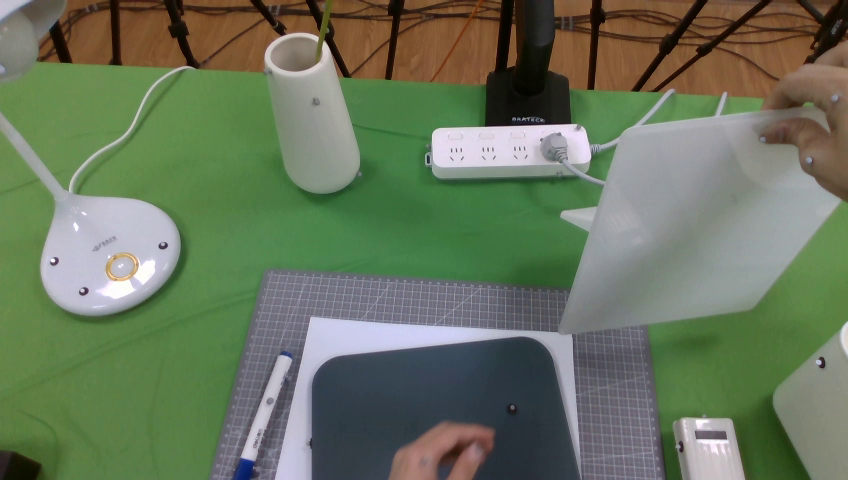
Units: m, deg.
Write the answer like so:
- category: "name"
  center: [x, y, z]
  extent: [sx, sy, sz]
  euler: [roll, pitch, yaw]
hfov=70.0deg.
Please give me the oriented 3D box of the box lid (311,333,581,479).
- category: "box lid"
  center: [0.026, 0.266, 0.577]
  extent: [0.263, 0.015, 0.368]
  euler: [-5, 59, -4]

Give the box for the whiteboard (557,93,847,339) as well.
- category: "whiteboard"
  center: [0.235, -0.053, 0.566]
  extent: [0.217, 0.308, 0.142]
  euler: [-7, 54, -2]

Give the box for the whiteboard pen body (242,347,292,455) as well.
- category: "whiteboard pen body"
  center: [-0.165, 0.177, 0.623]
  extent: [0.017, 0.017, 0.140]
  euler: [11, 60, 7]

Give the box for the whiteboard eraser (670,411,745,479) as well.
- category: "whiteboard eraser"
  center: [0.277, 0.224, 0.587]
  extent: [0.055, 0.042, 0.111]
  euler: [2, 58, -1]

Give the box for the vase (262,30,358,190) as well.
- category: "vase"
  center: [-0.137, -0.149, 0.728]
  extent: [0.098, 0.202, 0.097]
  euler: [-1, 57, 2]

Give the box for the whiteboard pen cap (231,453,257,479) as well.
- category: "whiteboard pen cap"
  center: [-0.177, 0.226, 0.596]
  extent: [0.018, 0.018, 0.033]
  euler: [10, 60, 7]

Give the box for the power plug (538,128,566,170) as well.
- category: "power plug"
  center: [0.163, -0.111, 0.775]
  extent: [0.035, 0.053, 0.072]
  euler: [8, 64, 5]

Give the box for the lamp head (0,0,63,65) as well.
- category: "lamp head"
  center: [-0.340, -0.183, 0.418]
  extent: [0.124, 0.112, 0.112]
  euler: [45, 61, -18]

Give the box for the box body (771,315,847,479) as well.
- category: "box body"
  center: [0.512, 0.230, 0.510]
  extent: [0.254, 0.162, 0.360]
  euler: [-12, 59, -7]

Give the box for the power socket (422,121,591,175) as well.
- category: "power socket"
  center: [0.111, -0.123, 0.809]
  extent: [0.227, 0.033, 0.071]
  euler: [-1, 59, -1]

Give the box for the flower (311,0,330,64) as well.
- category: "flower"
  center: [-0.119, -0.185, 0.654]
  extent: [0.044, 0.363, 0.038]
  euler: [-34, 81, -29]

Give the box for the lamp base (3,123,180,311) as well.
- category: "lamp base"
  center: [-0.387, -0.035, 0.667]
  extent: [0.178, 0.182, 0.160]
  euler: [32, 63, 22]
